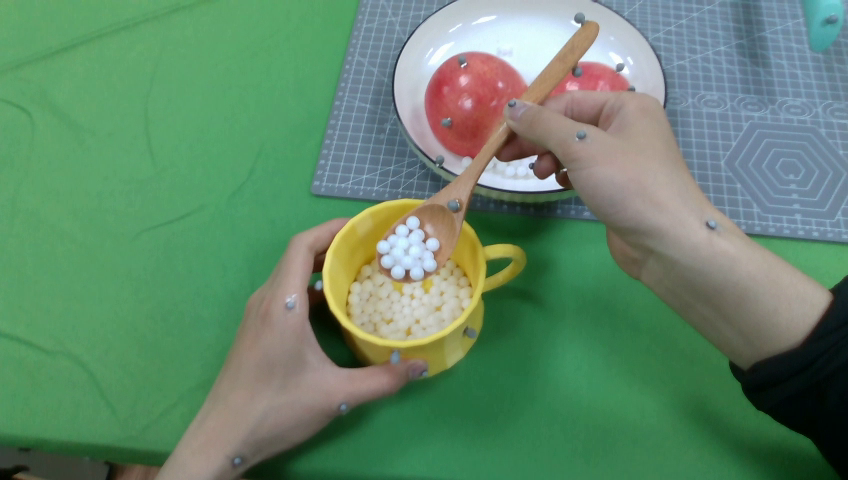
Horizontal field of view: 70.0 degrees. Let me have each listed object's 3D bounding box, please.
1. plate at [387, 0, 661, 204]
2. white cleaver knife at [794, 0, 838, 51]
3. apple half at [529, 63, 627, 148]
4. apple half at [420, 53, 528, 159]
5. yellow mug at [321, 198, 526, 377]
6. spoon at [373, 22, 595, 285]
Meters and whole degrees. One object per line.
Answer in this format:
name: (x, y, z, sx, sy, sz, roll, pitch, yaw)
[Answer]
plate: (0.075, -0.113, 0.477, 0.209, 0.038, 0.207, -1, 62, 2)
white cleaver knife: (0.315, -0.264, 0.530, 0.021, 0.066, 0.284, 4, 58, 10)
apple half: (0.119, -0.113, 0.467, 0.081, 0.033, 0.080, -1, 64, 2)
apple half: (0.037, -0.110, 0.459, 0.081, 0.054, 0.074, -34, 63, -14)
yellow mug: (0.004, 0.028, 0.393, 0.131, 0.064, 0.099, -15, 62, -6)
spoon: (0.039, -0.052, 0.350, 0.041, 0.022, 0.193, 39, 90, 23)
